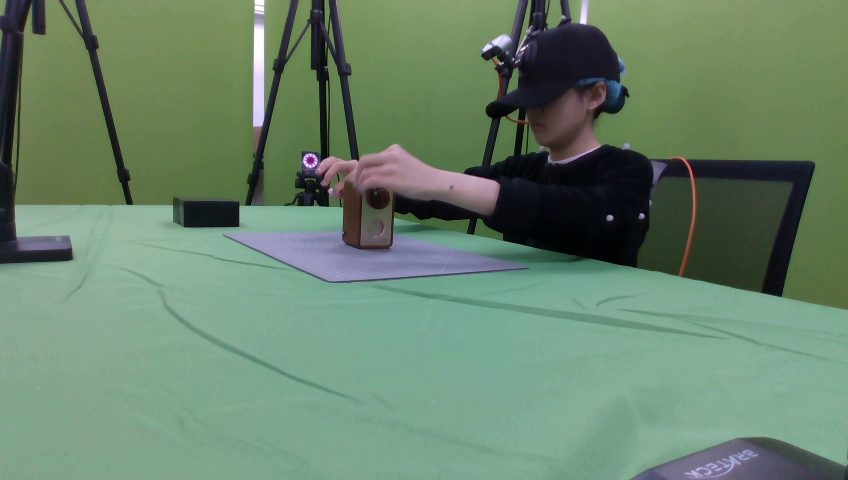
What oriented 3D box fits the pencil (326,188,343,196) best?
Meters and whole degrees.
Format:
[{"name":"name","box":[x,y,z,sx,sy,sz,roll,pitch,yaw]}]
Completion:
[{"name":"pencil","box":[-0.128,-0.077,1.028,0.012,0.012,0.193,-1,8,-30]}]

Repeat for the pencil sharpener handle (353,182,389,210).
[{"name":"pencil sharpener handle","box":[-0.074,-0.068,0.905,0.068,0.036,0.030,28,-6,-31]}]

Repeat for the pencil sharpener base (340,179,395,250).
[{"name":"pencil sharpener base","box":[-0.090,-0.041,0.960,0.062,0.107,0.076,0,8,-30]}]
